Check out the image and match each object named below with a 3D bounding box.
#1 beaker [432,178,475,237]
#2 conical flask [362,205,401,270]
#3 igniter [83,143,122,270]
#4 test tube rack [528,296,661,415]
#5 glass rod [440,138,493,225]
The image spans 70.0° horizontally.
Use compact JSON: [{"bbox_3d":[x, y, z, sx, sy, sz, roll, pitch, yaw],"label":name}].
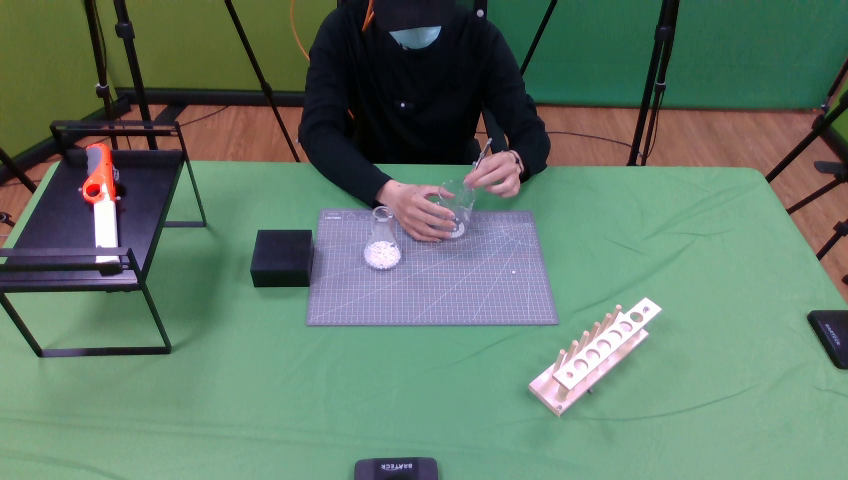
[{"bbox_3d":[0.057,-0.059,1.196,0.074,0.101,0.083,-24,56,-27],"label":"beaker"},{"bbox_3d":[-0.079,-0.008,1.127,0.075,0.122,0.075,2,46,-2],"label":"conical flask"},{"bbox_3d":[-0.508,-0.064,0.962,0.057,0.025,0.274,-14,53,-18],"label":"igniter"},{"bbox_3d":[0.284,0.178,1.005,0.242,0.085,0.066,-31,55,-29],"label":"test tube rack"},{"bbox_3d":[0.078,-0.109,1.152,0.008,0.200,0.008,25,26,-13],"label":"glass rod"}]
